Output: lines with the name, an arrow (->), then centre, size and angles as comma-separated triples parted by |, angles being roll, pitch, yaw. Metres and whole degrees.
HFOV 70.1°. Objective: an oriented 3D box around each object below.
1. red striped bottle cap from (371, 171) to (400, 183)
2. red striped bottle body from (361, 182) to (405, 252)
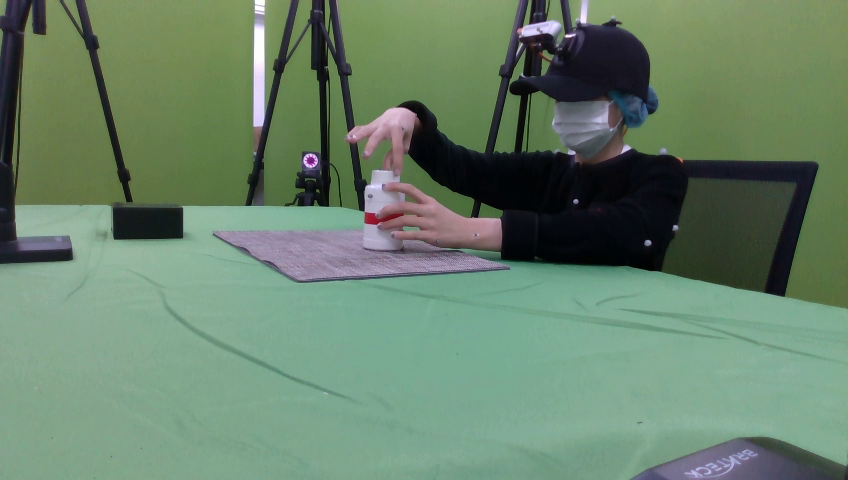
red striped bottle cap -> -0.059, -0.097, 0.926 | 0.044, 0.017, 0.044 | -1, 8, 0
red striped bottle body -> -0.063, -0.044, 0.933 | 0.063, 0.119, 0.063 | 4, 7, 0
